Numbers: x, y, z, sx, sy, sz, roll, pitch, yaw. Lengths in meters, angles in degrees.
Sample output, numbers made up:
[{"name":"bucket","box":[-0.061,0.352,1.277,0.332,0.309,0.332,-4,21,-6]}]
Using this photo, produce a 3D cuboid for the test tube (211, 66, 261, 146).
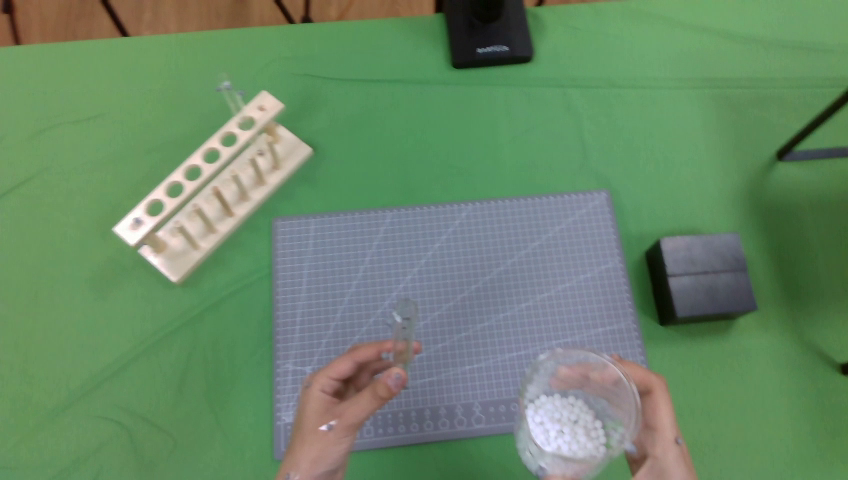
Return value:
[{"name":"test tube","box":[-0.223,-0.157,0.730,0.017,0.151,0.017,-1,68,2]}]

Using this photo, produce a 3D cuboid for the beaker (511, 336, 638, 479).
[{"name":"beaker","box":[0.096,0.123,0.416,0.084,0.101,0.073,-40,64,-19]}]

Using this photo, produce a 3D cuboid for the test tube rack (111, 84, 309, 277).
[{"name":"test tube rack","box":[-0.255,-0.074,0.752,0.066,0.085,0.242,38,73,11]}]

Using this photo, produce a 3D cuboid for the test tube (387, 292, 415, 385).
[{"name":"test tube","box":[-0.019,0.079,0.456,0.017,0.151,0.017,2,58,-3]}]
